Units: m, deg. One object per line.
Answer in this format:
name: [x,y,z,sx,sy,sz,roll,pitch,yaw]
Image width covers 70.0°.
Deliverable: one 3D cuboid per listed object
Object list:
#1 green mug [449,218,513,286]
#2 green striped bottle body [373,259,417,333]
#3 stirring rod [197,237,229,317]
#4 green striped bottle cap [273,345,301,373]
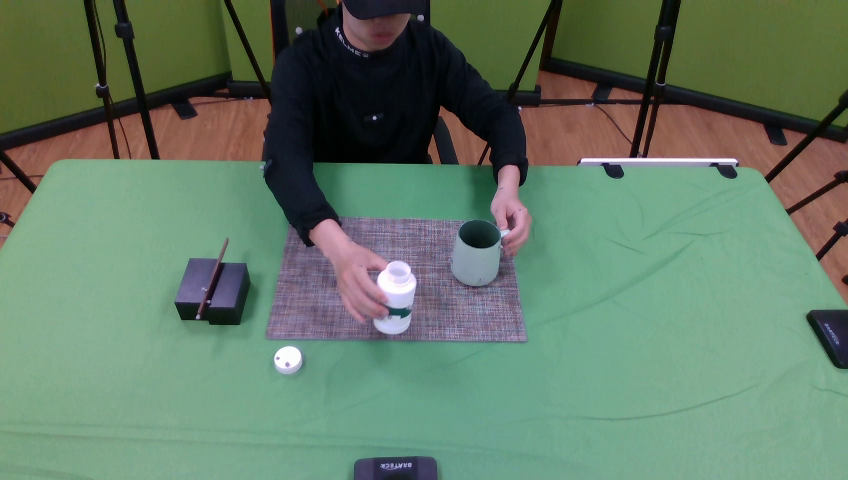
green mug: [0.110,0.018,1.126,0.125,0.105,0.092,-19,50,-21]
green striped bottle body: [-0.047,0.089,0.978,0.063,0.120,0.063,6,38,-5]
stirring rod: [-0.363,0.060,1.047,0.006,0.014,0.175,7,46,-3]
green striped bottle cap: [-0.225,0.195,0.997,0.044,0.020,0.044,2,50,-2]
